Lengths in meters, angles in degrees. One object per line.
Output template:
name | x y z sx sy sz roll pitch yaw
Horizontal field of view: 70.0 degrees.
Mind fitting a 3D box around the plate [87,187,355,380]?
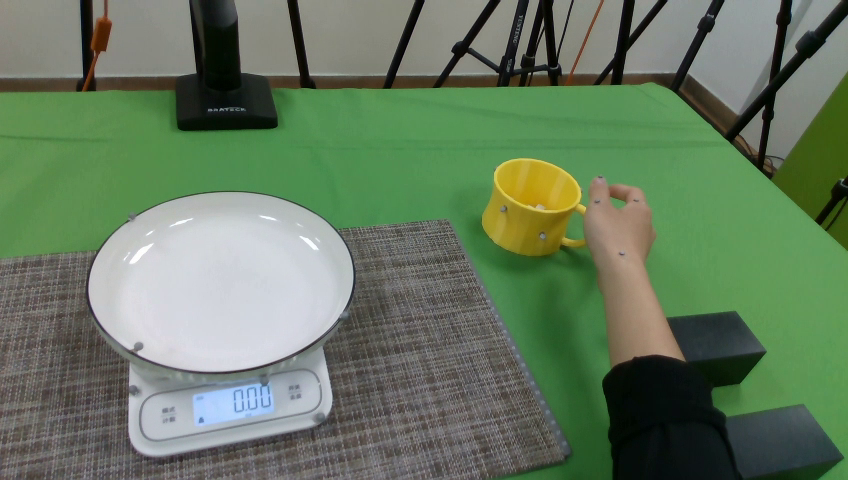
plate | -0.164 0.033 0.509 0.209 0.038 0.207 7 42 -6

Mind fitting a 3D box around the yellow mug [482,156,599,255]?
yellow mug | 0.135 -0.034 0.683 0.130 0.064 0.099 27 44 15

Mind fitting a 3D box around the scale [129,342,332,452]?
scale | -0.166 0.073 0.514 0.149 0.032 0.198 -5 45 -18
